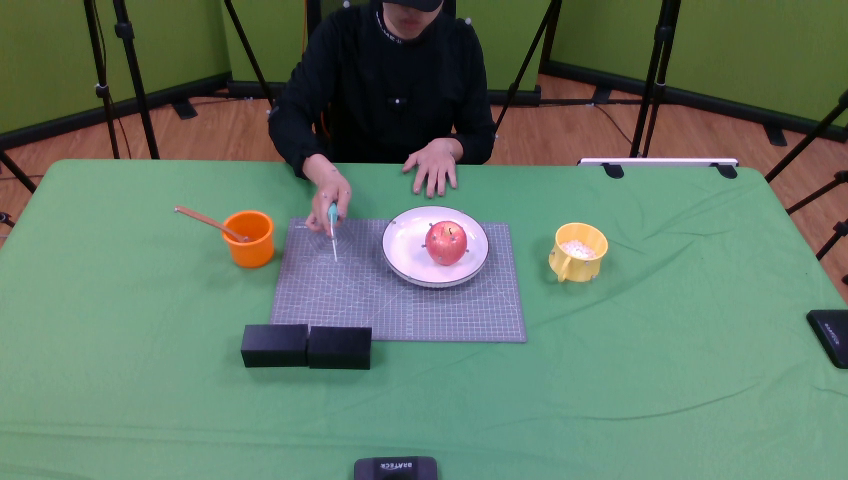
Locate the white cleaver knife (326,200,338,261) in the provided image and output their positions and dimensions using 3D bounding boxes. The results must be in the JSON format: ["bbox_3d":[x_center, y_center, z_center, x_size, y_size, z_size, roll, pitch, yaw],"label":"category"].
[{"bbox_3d":[-0.165,-0.021,1.081,0.021,0.066,0.285,-5,14,-6],"label":"white cleaver knife"}]

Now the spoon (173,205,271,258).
[{"bbox_3d":[-0.362,-0.017,1.098,0.021,0.195,0.041,-33,42,26],"label":"spoon"}]

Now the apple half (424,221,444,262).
[{"bbox_3d":[0.016,0.002,1.145,0.033,0.081,0.081,13,46,3],"label":"apple half"}]

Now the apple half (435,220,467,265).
[{"bbox_3d":[0.054,0.009,1.142,0.053,0.075,0.080,14,43,3],"label":"apple half"}]

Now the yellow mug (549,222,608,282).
[{"bbox_3d":[0.287,0.031,1.159,0.099,0.064,0.130,27,51,21],"label":"yellow mug"}]

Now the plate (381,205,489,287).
[{"bbox_3d":[0.021,0.015,1.170,0.209,0.038,0.208,2,46,-2],"label":"plate"}]
